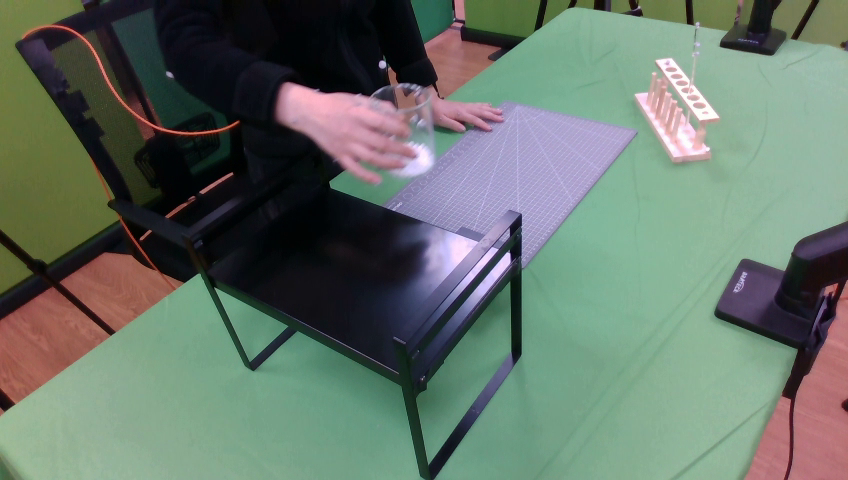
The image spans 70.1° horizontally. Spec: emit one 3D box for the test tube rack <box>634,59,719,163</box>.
[{"bbox_3d":[0.470,-0.250,1.148,0.067,0.085,0.241,-6,40,3],"label":"test tube rack"}]

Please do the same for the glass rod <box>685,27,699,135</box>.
[{"bbox_3d":[0.478,-0.279,1.078,0.008,0.200,0.008,-7,34,5],"label":"glass rod"}]

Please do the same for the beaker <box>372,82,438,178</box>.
[{"bbox_3d":[-0.019,-0.136,0.751,0.073,0.100,0.084,18,44,27],"label":"beaker"}]
